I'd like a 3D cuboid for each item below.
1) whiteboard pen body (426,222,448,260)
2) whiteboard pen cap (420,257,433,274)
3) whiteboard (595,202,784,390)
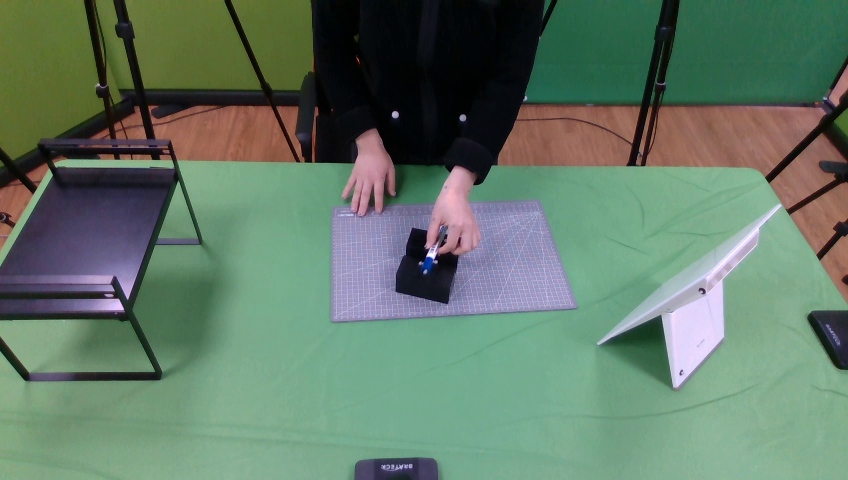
[{"bbox_3d":[0.021,0.010,1.105,0.017,0.017,0.140,14,37,9],"label":"whiteboard pen body"},{"bbox_3d":[0.005,0.044,1.060,0.018,0.018,0.033,14,37,9],"label":"whiteboard pen cap"},{"bbox_3d":[0.459,0.112,0.968,0.217,0.306,0.143,-31,75,-29],"label":"whiteboard"}]
